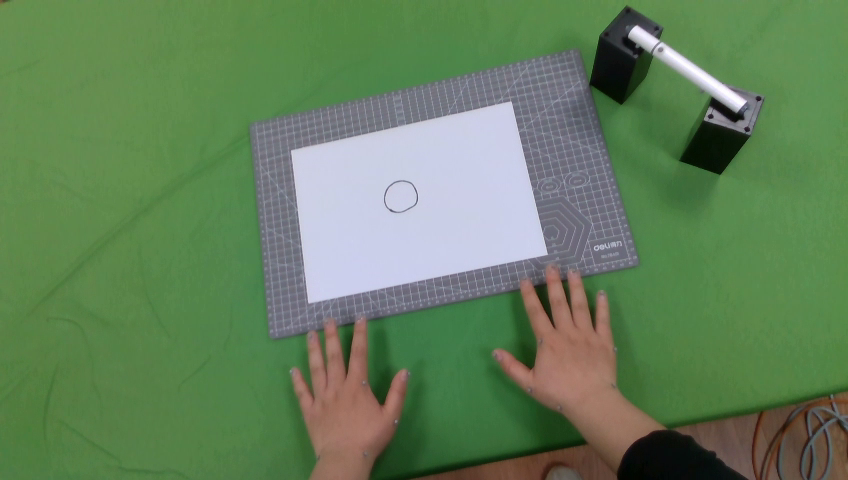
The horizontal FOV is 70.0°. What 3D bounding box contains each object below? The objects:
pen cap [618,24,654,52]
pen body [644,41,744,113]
[{"bbox_3d":[0.233,-0.223,0.668,0.038,0.017,0.017,41,83,19],"label":"pen cap"},{"bbox_3d":[0.277,-0.182,0.650,0.143,0.017,0.017,42,83,17],"label":"pen body"}]
